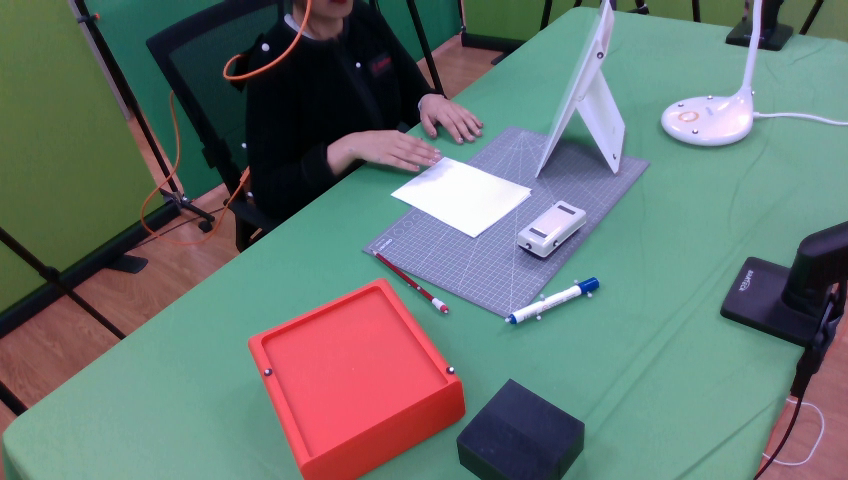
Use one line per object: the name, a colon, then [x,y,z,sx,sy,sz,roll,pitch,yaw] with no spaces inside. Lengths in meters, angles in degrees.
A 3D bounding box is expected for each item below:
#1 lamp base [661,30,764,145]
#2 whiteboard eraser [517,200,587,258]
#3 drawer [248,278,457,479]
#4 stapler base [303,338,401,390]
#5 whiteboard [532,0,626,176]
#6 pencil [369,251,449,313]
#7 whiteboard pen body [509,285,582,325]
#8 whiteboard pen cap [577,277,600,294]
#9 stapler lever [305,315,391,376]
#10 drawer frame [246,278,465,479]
lamp base: [0.535,-0.287,1.096,0.179,0.181,0.159,-10,40,-4]
whiteboard eraser: [0.200,-0.016,0.943,0.113,0.042,0.055,-37,46,-29]
drawer: [-0.092,0.168,0.756,0.195,0.073,0.210,-23,43,-18]
stapler base: [-0.096,0.160,0.813,0.131,0.024,0.041,-16,42,-18]
whiteboard: [0.321,-0.258,1.049,0.144,0.306,0.217,21,45,5]
pencil: [-0.028,0.060,0.924,0.012,0.012,0.192,-33,46,-25]
whiteboard pen body: [0.181,0.086,0.845,0.141,0.017,0.017,-21,42,-17]
whiteboard pen cap: [0.233,0.066,0.864,0.033,0.018,0.018,-20,41,-17]
stapler lever: [-0.100,0.136,0.790,0.118,0.040,0.026,-23,43,-12]
drawer frame: [-0.088,0.168,0.752,0.202,0.083,0.211,-24,43,-18]
